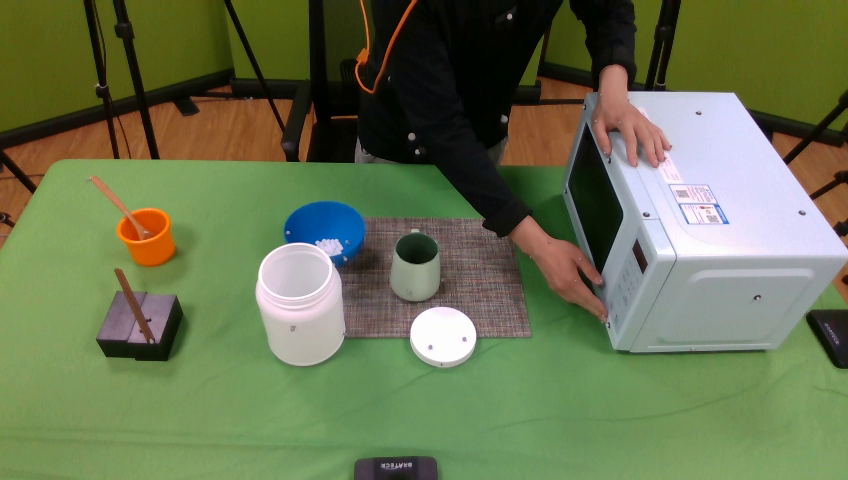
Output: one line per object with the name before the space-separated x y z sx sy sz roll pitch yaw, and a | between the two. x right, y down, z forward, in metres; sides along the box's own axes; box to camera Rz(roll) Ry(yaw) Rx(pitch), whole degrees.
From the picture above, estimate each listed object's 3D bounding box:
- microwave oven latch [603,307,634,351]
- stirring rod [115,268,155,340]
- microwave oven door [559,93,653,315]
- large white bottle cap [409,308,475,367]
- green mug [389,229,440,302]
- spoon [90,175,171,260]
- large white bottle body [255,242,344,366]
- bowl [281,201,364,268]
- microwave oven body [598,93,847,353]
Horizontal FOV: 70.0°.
microwave oven latch | 0.332 0.153 1.044 0.030 0.029 0.078 0 45 -3
stirring rod | -0.479 0.103 0.999 0.014 0.006 0.175 7 32 -49
microwave oven door | 0.327 -0.074 1.123 0.039 0.245 0.353 0 46 -5
large white bottle cap | 0.031 0.166 1.041 0.115 0.018 0.114 2 46 -2
green mug | -0.017 0.038 1.100 0.092 0.105 0.124 -1 46 -4
spoon | -0.538 -0.042 1.111 0.021 0.194 0.041 -13 27 52
large white bottle body | -0.196 0.102 0.967 0.131 0.185 0.130 2 49 -2
bowl | -0.187 0.005 1.138 0.151 0.077 0.150 3 46 -3
microwave oven body | 0.475 -0.042 1.110 0.326 0.261 0.438 -1 45 -4
